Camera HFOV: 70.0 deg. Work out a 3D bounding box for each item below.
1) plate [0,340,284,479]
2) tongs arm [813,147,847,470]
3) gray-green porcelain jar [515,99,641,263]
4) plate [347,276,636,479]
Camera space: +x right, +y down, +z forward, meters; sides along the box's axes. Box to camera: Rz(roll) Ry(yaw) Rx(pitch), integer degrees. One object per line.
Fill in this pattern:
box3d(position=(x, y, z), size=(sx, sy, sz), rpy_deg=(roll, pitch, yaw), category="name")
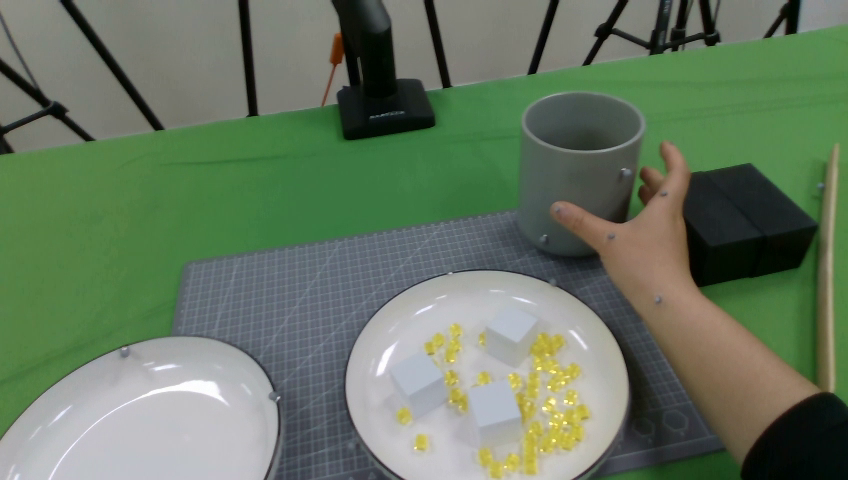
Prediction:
box3d(position=(-0.198, 0.161, 0.421), size=(0.209, 0.038, 0.207), rpy_deg=(-4, 41, 4), category="plate")
box3d(position=(0.361, 0.027, 0.532), size=(0.028, 0.028, 0.386), rpy_deg=(17, 46, 19), category="tongs arm")
box3d(position=(0.138, -0.050, 0.564), size=(0.106, 0.128, 0.105), rpy_deg=(-3, 41, 3), category="gray-green porcelain jar")
box3d(position=(0.048, 0.111, 0.455), size=(0.207, 0.039, 0.205), rpy_deg=(-3, 40, 3), category="plate")
